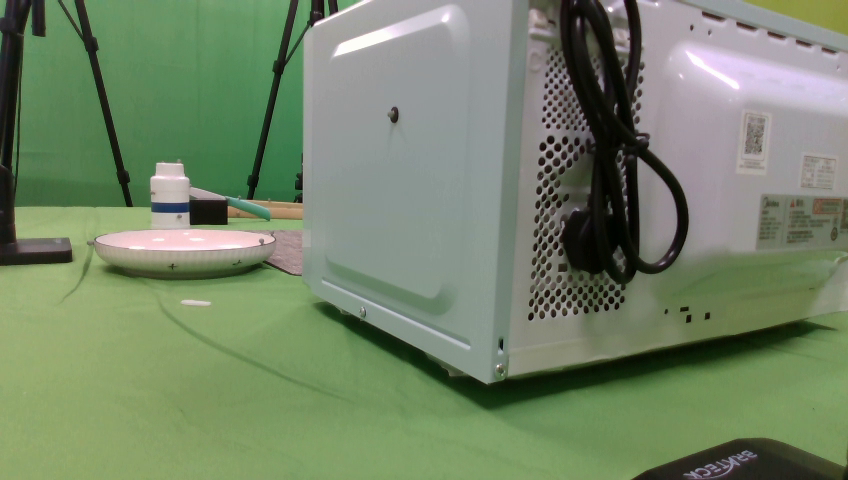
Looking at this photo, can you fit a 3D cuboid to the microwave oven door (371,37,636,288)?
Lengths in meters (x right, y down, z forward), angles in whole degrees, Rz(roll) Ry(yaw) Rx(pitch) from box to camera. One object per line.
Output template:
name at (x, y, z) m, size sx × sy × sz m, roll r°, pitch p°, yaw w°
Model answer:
microwave oven door at (0.110, -0.080, 0.686) m, size 0.358 × 0.243 × 0.039 m, roll -2°, pitch 9°, yaw -33°

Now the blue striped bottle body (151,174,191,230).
blue striped bottle body at (-0.439, -0.071, 1.052) m, size 0.063 × 0.120 × 0.063 m, roll 2°, pitch 7°, yaw 0°

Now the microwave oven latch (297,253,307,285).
microwave oven latch at (-0.082, 0.027, 0.582) m, size 0.079 × 0.029 × 0.030 m, roll -1°, pitch 7°, yaw -33°

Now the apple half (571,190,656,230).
apple half at (0.181, -0.031, 0.583) m, size 0.081 × 0.033 × 0.081 m, roll 11°, pitch -5°, yaw 1°

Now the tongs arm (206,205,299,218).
tongs arm at (-0.302, -0.065, 1.407) m, size 0.389 × 0.028 × 0.028 m, roll 1°, pitch 4°, yaw -15°

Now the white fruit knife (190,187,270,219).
white fruit knife at (-0.413, -0.081, 1.270) m, size 0.208 × 0.027 × 0.016 m, roll 17°, pitch 14°, yaw -41°

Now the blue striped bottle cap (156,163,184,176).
blue striped bottle cap at (-0.438, -0.122, 1.045) m, size 0.044 × 0.020 × 0.044 m, roll 4°, pitch 6°, yaw 0°

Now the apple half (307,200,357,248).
apple half at (-0.135, -0.024, 0.941) m, size 0.053 × 0.074 × 0.081 m, roll 13°, pitch 8°, yaw 38°

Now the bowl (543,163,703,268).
bowl at (0.181, -0.020, 0.585) m, size 0.151 × 0.077 × 0.151 m, roll 13°, pitch 7°, yaw -1°

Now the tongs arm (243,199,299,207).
tongs arm at (-0.309, -0.079, 1.487) m, size 0.385 × 0.026 × 0.050 m, roll 3°, pitch 7°, yaw -2°

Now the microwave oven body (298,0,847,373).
microwave oven body at (0.151, -0.055, 0.542) m, size 0.444 × 0.260 × 0.324 m, roll -1°, pitch 7°, yaw -33°

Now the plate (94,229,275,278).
plate at (-0.291, 0.016, 0.749) m, size 0.208 × 0.039 × 0.207 m, roll 2°, pitch 7°, yaw 0°
